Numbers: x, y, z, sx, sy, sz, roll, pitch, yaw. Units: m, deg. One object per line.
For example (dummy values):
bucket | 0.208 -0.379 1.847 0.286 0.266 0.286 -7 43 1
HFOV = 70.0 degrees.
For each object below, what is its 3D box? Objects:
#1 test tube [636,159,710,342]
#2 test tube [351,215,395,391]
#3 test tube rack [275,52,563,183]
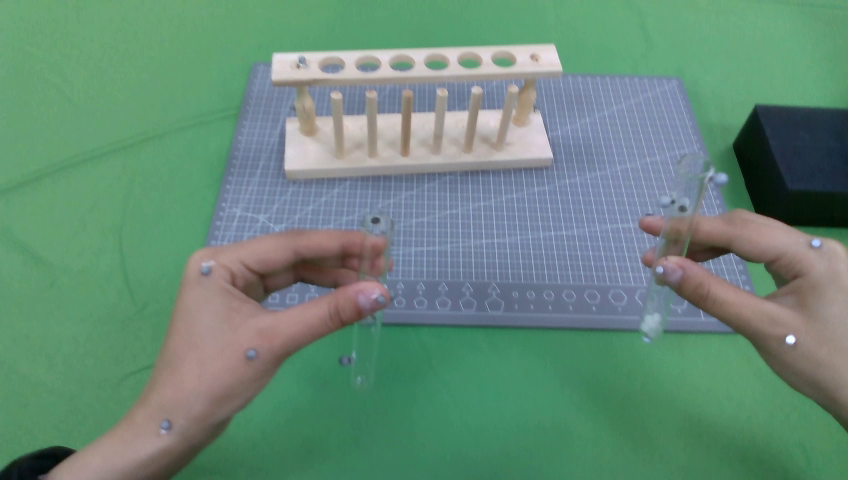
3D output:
test tube | 0.135 0.014 0.337 0.017 0.152 0.017 -5 50 6
test tube | -0.030 0.043 0.335 0.017 0.151 0.017 5 47 -5
test tube rack | -0.003 -0.108 0.538 0.243 0.086 0.066 -3 54 -5
